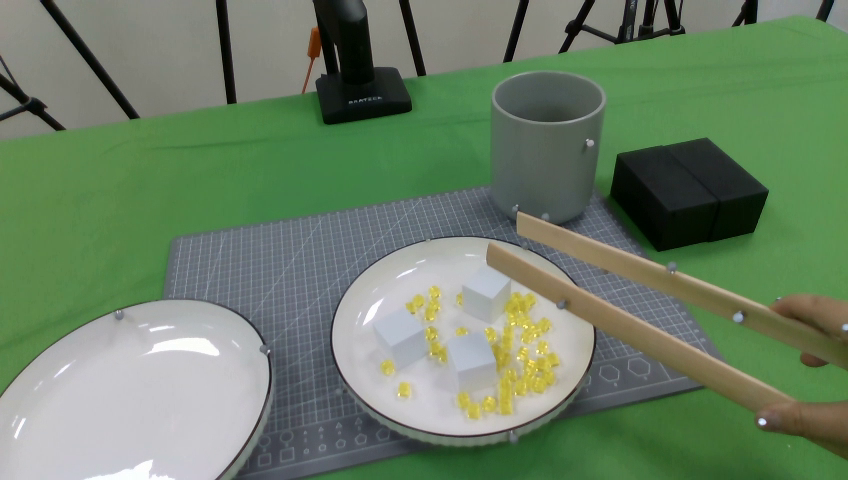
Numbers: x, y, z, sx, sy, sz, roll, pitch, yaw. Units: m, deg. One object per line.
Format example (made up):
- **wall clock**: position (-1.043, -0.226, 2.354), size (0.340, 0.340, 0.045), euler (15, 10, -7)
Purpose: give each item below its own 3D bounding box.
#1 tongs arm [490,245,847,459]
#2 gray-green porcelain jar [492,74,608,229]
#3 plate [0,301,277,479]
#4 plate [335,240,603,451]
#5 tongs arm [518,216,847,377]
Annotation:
- **tongs arm**: position (0.204, 0.087, 0.361), size (0.384, 0.028, 0.028), euler (26, 49, 27)
- **gray-green porcelain jar**: position (0.120, -0.083, 0.599), size (0.106, 0.127, 0.105), euler (-2, 41, 3)
- **plate**: position (-0.210, 0.132, 0.447), size (0.209, 0.038, 0.207), euler (-3, 41, 3)
- **plate**: position (0.035, 0.079, 0.487), size (0.207, 0.039, 0.205), euler (-2, 40, 2)
- **tongs arm**: position (0.220, 0.072, 0.375), size (0.382, 0.027, 0.050), euler (23, 51, 25)
